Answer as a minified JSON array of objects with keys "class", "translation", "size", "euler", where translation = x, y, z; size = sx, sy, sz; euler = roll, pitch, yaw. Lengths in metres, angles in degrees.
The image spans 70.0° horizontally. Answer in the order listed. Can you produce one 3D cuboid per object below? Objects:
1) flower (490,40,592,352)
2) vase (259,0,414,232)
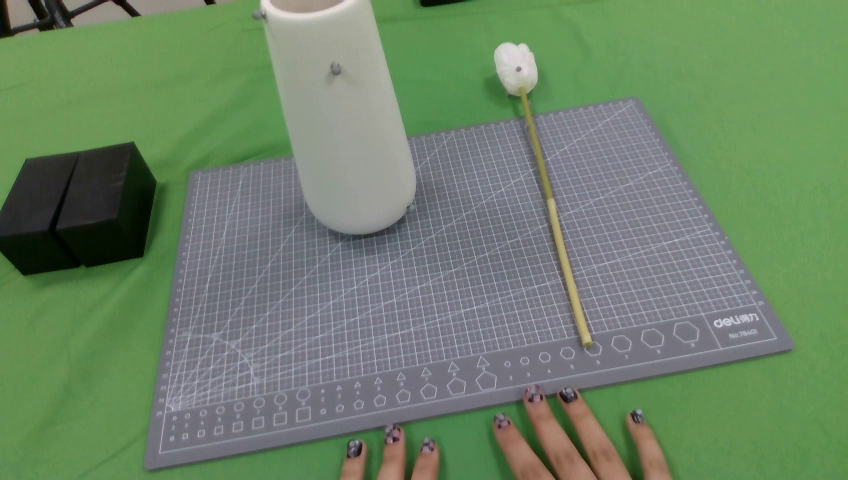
[{"class":"flower","translation":[0.105,-0.063,0.547],"size":[0.044,0.038,0.358],"euler":[17,48,-28]},{"class":"vase","translation":[-0.065,-0.098,0.470],"size":[0.098,0.202,0.097],"euler":[-4,48,5]}]
